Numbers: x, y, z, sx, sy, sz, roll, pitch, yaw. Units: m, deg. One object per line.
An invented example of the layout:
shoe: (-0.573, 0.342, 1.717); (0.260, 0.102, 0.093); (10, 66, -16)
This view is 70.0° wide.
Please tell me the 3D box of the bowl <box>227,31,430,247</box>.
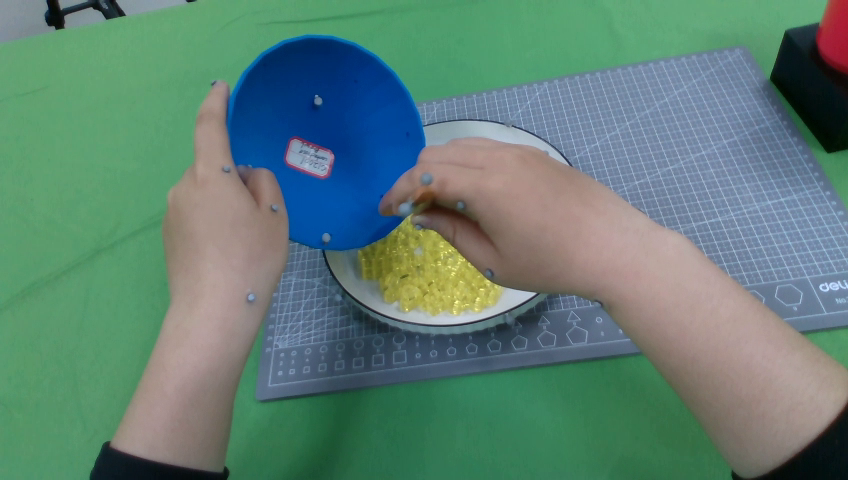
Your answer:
bowl: (-0.079, -0.069, 0.453); (0.151, 0.152, 0.076); (-49, 24, -23)

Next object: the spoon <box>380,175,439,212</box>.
spoon: (-0.005, -0.026, 0.356); (0.041, 0.193, 0.022); (-30, 98, -3)

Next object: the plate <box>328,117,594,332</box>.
plate: (0.027, -0.015, 0.483); (0.207, 0.039, 0.205); (-6, 53, 8)
